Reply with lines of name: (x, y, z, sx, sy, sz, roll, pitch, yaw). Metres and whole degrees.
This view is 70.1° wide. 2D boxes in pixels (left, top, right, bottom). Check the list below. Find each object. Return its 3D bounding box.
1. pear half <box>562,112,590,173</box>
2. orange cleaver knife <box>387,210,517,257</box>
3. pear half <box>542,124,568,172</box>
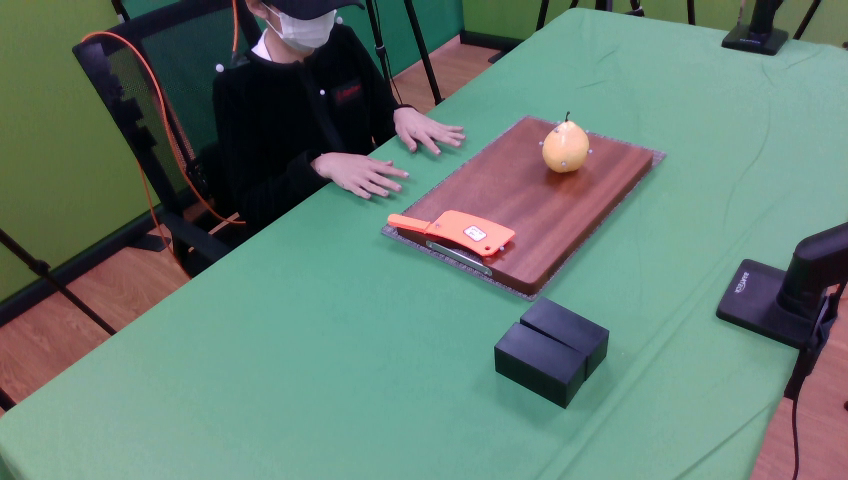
pear half: (0.253, -0.172, 1.027, 0.056, 0.110, 0.075, -18, 46, -10)
orange cleaver knife: (0.041, -0.020, 0.953, 0.210, 0.012, 0.077, 16, 48, 29)
pear half: (0.220, -0.155, 1.028, 0.031, 0.088, 0.070, -18, 46, -12)
